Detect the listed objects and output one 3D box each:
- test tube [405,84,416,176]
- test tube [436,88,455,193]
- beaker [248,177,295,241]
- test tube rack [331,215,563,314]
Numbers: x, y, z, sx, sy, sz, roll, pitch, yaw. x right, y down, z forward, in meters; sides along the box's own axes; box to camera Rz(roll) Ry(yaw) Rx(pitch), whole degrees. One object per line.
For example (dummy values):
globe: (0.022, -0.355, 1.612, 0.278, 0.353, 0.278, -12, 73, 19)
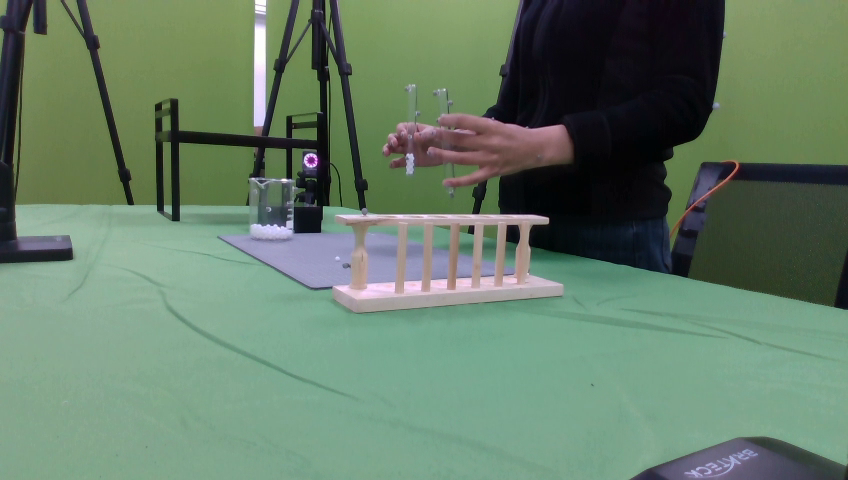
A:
test tube: (-0.022, -0.180, 0.995, 0.017, 0.150, 0.017, 2, 8, 0)
test tube: (0.032, -0.141, 0.871, 0.017, 0.150, 0.017, -5, 14, 2)
beaker: (-0.252, -0.051, 0.992, 0.074, 0.100, 0.084, 3, 9, 6)
test tube rack: (0.031, 0.019, 0.625, 0.243, 0.085, 0.066, -1, 8, -28)
